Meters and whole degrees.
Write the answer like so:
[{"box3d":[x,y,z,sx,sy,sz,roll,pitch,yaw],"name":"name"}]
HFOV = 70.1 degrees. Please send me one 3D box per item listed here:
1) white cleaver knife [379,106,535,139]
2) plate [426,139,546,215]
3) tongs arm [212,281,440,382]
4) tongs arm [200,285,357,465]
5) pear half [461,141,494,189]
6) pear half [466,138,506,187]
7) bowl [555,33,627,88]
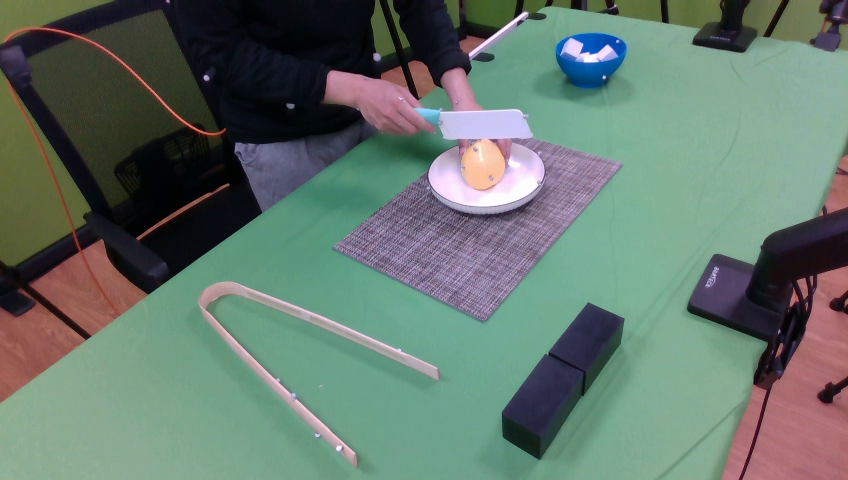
[{"box3d":[0.043,-0.190,0.993,0.284,0.066,0.021,9,53,33],"name":"white cleaver knife"},{"box3d":[0.109,-0.107,1.059,0.207,0.039,0.206,-4,41,4],"name":"plate"},{"box3d":[-0.147,0.121,0.846,0.385,0.028,0.028,17,48,26],"name":"tongs arm"},{"box3d":[-0.199,0.162,0.797,0.381,0.026,0.051,28,50,35],"name":"tongs arm"},{"box3d":[0.085,-0.123,1.026,0.070,0.088,0.031,26,49,29],"name":"pear half"},{"box3d":[0.108,-0.150,1.039,0.076,0.110,0.056,31,57,29],"name":"pear half"},{"box3d":[0.360,-0.384,1.318,0.151,0.077,0.150,-4,41,4],"name":"bowl"}]
